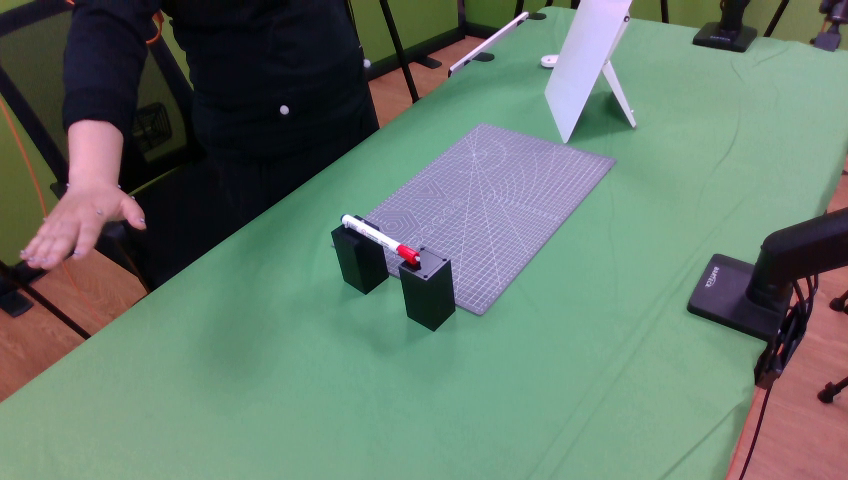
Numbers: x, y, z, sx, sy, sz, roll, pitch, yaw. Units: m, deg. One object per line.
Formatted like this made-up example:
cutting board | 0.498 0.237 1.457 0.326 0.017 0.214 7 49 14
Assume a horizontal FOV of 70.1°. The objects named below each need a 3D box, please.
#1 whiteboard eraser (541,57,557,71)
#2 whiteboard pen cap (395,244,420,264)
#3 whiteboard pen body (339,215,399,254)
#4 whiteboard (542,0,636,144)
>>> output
whiteboard eraser | 0.323 -0.412 1.407 0.101 0.019 0.041 1 42 11
whiteboard pen cap | -0.022 0.018 0.800 0.032 0.017 0.017 29 52 36
whiteboard pen body | -0.067 -0.004 0.835 0.139 0.017 0.017 28 51 33
whiteboard | 0.366 -0.351 1.160 0.144 0.305 0.216 10 39 -10
